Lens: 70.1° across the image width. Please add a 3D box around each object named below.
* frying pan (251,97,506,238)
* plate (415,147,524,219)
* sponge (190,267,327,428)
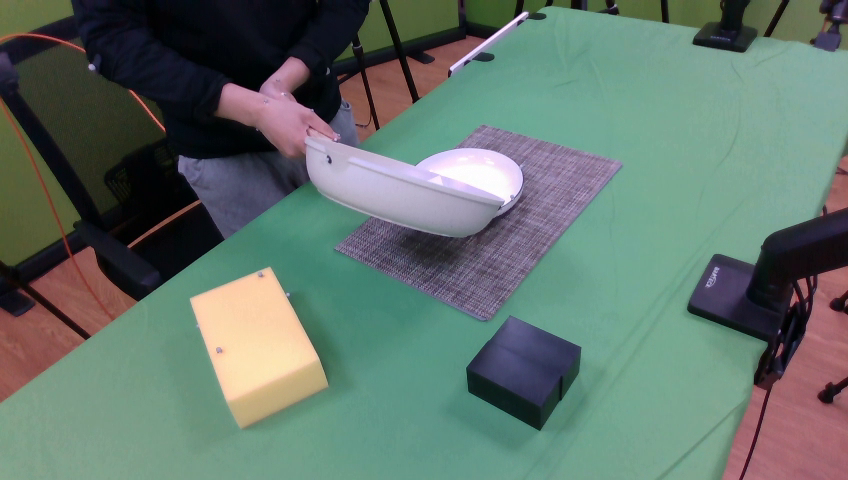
[{"bbox_3d":[-0.107,-0.123,0.907,0.484,0.102,0.309,33,15,31],"label":"frying pan"},{"bbox_3d":[0.069,-0.089,1.044,0.207,0.039,0.206,-4,41,4],"label":"plate"},{"bbox_3d":[-0.226,0.135,0.814,0.119,0.061,0.205,-23,43,-19],"label":"sponge"}]
